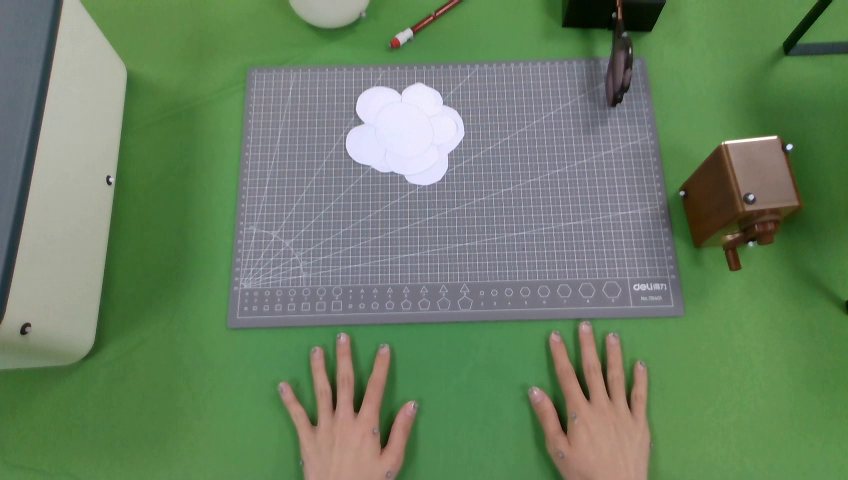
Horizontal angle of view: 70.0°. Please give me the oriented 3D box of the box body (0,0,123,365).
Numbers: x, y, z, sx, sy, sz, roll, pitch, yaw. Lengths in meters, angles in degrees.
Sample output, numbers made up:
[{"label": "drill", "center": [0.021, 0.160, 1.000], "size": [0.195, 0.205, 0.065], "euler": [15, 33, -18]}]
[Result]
[{"label": "box body", "center": [-0.449, -0.064, 0.568], "size": [0.254, 0.161, 0.361], "euler": [-3, 72, 0]}]

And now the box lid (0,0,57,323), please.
[{"label": "box lid", "center": [-0.451, -0.089, 0.498], "size": [0.263, 0.015, 0.369], "euler": [-3, 72, 0]}]

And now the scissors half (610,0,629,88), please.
[{"label": "scissors half", "center": [0.203, -0.239, 0.640], "size": [0.013, 0.040, 0.174], "euler": [1, 68, 3]}]

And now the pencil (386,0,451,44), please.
[{"label": "pencil", "center": [0.032, -0.286, 0.711], "size": [0.194, 0.012, 0.012], "euler": [-39, 75, -12]}]

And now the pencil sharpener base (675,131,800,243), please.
[{"label": "pencil sharpener base", "center": [0.294, -0.044, 0.579], "size": [0.061, 0.107, 0.076], "euler": [-6, 72, -1]}]

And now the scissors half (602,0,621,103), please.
[{"label": "scissors half", "center": [0.204, -0.233, 0.660], "size": [0.013, 0.040, 0.174], "euler": [3, 85, -2]}]

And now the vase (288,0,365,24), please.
[{"label": "vase", "center": [-0.115, -0.318, 0.624], "size": [0.098, 0.201, 0.097], "euler": [-1, 71, 2]}]

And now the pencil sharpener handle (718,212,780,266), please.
[{"label": "pencil sharpener handle", "center": [0.296, 0.001, 0.551], "size": [0.036, 0.068, 0.030], "euler": [-2, 72, -14]}]

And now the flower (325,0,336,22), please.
[{"label": "flower", "center": [-0.126, -0.357, 0.550], "size": [0.044, 0.365, 0.038], "euler": [-8, 54, 2]}]
